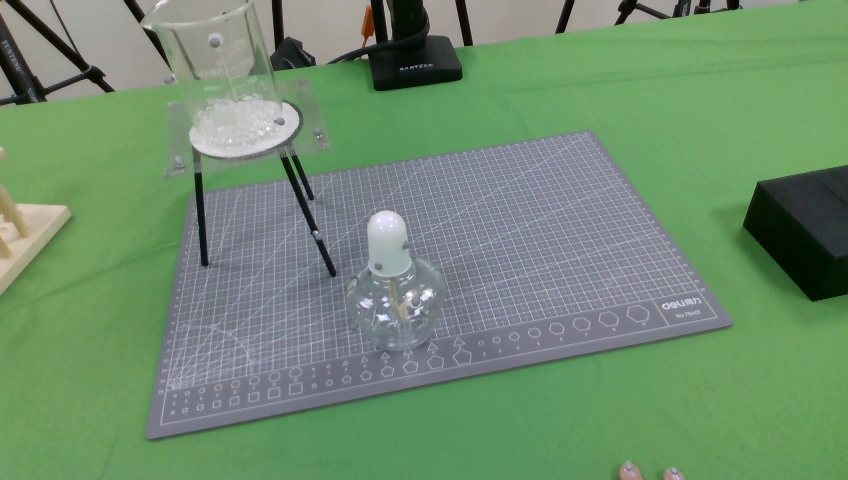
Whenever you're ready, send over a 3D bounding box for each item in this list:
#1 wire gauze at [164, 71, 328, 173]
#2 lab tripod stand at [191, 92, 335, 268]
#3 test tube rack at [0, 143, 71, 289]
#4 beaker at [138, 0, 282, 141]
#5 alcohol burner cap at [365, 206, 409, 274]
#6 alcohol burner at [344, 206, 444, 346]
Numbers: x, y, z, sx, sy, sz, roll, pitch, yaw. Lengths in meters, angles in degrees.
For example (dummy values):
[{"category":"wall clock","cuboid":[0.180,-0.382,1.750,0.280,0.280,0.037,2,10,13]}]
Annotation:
[{"category":"wire gauze","cuboid":[-0.147,-0.097,0.489,0.125,0.011,0.120,-16,41,-7]},{"category":"lab tripod stand","cuboid":[-0.142,-0.049,0.533,0.148,0.133,0.147,-3,44,3]},{"category":"test tube rack","cuboid":[-0.426,0.017,0.529,0.066,0.086,0.240,4,43,9]},{"category":"beaker","cuboid":[-0.154,-0.132,0.455,0.084,0.101,0.073,-14,43,-8]},{"category":"alcohol burner cap","cuboid":[-0.028,-0.002,0.433,0.034,0.048,0.033,-1,40,1]},{"category":"alcohol burner","cuboid":[-0.024,0.024,0.457,0.078,0.120,0.077,-3,41,3]}]
